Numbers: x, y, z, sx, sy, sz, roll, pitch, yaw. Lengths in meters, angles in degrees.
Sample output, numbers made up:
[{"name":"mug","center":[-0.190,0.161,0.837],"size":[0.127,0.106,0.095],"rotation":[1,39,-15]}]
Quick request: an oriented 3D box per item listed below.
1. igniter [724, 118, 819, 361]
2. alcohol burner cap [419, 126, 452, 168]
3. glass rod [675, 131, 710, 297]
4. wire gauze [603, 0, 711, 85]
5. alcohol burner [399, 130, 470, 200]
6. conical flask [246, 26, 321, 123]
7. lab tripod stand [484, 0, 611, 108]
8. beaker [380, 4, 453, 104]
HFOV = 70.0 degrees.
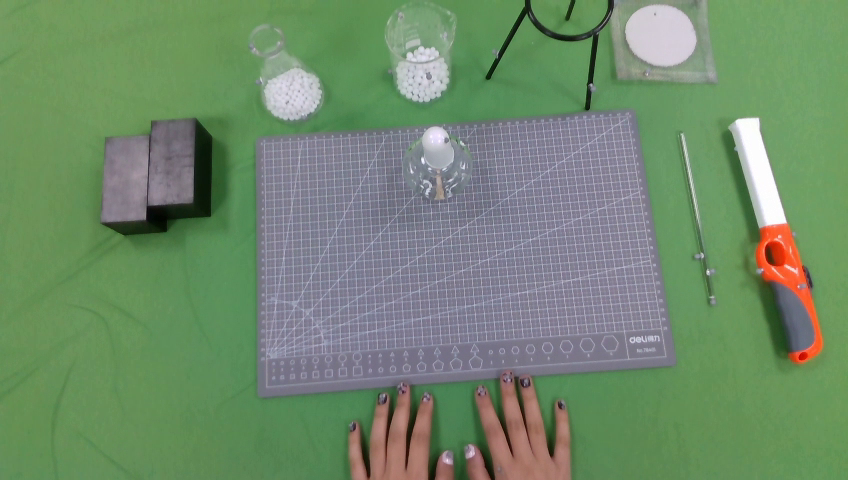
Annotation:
[{"name":"igniter","center":[0.385,-0.006,0.673],"size":[0.057,0.025,0.275],"rotation":[-6,77,-11]},{"name":"alcohol burner cap","center":[0.010,-0.098,0.616],"size":[0.034,0.048,0.033],"rotation":[-2,71,6]},{"name":"glass rod","center":[0.306,-0.033,0.690],"size":[0.008,0.008,0.198],"rotation":[-4,76,0]},{"name":"wire gauze","center":[0.286,-0.248,0.742],"size":[0.125,0.011,0.121],"rotation":[0,77,-1]},{"name":"alcohol burner","center":[0.011,-0.087,0.650],"size":[0.078,0.119,0.077],"rotation":[0,74,0]},{"name":"conical flask","center":[-0.162,-0.188,0.675],"size":[0.075,0.122,0.075],"rotation":[0,76,1]},{"name":"lab tripod stand","center":[0.142,-0.225,0.674],"size":[0.148,0.132,0.147],"rotation":[0,78,2]},{"name":"beaker","center":[-0.005,-0.208,0.690],"size":[0.084,0.101,0.073],"rotation":[-30,78,-7]}]
